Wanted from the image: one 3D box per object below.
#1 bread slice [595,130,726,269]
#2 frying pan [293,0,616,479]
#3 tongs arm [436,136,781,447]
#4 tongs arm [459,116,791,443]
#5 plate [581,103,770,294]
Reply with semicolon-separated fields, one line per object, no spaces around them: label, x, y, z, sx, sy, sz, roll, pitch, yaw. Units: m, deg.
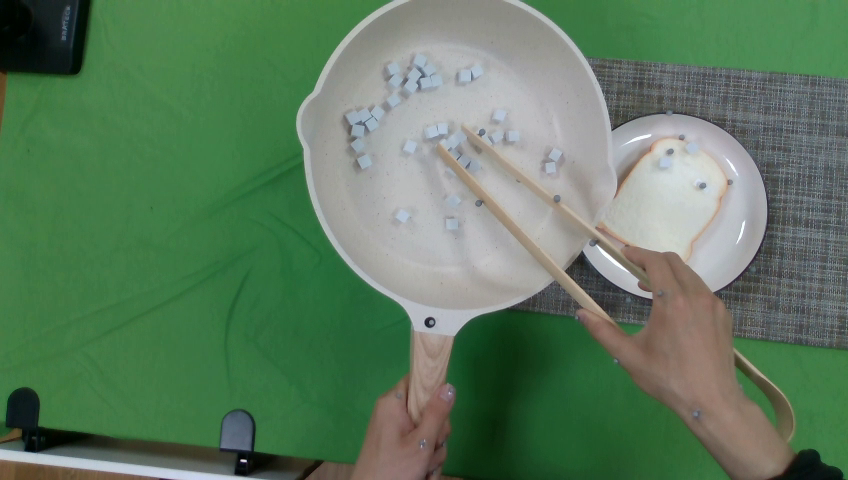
bread slice;0.263;-0.052;0.669;0.107;0.018;0.134;30;91;6
frying pan;0.015;0.019;0.563;0.308;0.102;0.486;10;85;-15
tongs arm;0.145;0.039;0.534;0.028;0.028;0.385;-41;77;-13
tongs arm;0.161;0.025;0.537;0.383;0.026;0.050;41;79;12
plate;0.265;-0.044;0.666;0.207;0.039;0.207;0;86;5
